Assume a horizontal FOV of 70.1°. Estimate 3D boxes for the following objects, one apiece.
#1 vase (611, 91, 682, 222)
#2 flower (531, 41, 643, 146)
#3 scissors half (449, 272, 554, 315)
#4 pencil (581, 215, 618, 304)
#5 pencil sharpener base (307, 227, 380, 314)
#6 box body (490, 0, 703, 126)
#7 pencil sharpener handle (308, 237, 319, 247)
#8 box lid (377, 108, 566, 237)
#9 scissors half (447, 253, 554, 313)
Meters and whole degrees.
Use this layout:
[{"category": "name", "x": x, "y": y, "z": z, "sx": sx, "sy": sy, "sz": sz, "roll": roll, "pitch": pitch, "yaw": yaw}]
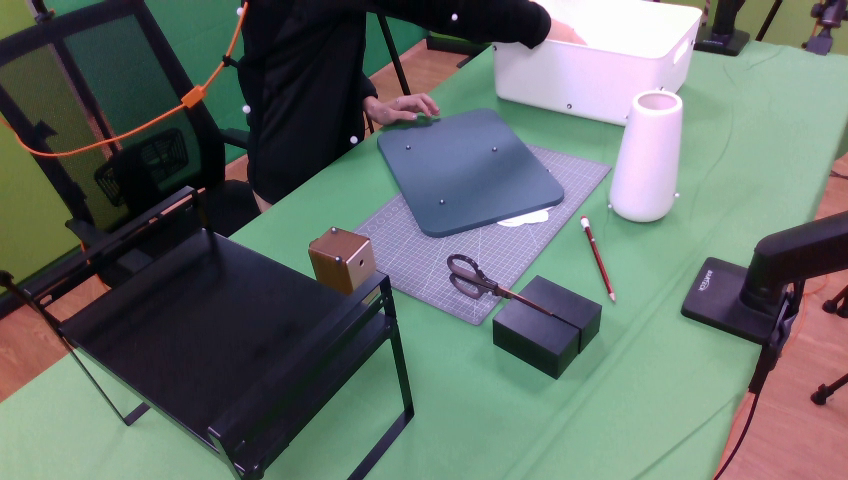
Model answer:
[{"category": "vase", "x": 0.348, "y": -0.125, "z": 0.935, "sx": 0.098, "sy": 0.201, "sz": 0.097, "roll": -3, "pitch": 40, "yaw": 3}, {"category": "flower", "x": 0.348, "y": -0.318, "z": 1.306, "sx": 0.038, "sy": 0.044, "sz": 0.359, "roll": 3, "pitch": 43, "yaw": -47}, {"category": "scissors half", "x": 0.104, "y": 0.076, "z": 0.834, "sx": 0.173, "sy": 0.040, "sz": 0.013, "roll": 15, "pitch": 47, "yaw": 42}, {"category": "pencil", "x": 0.266, "y": 0.025, "z": 0.917, "sx": 0.012, "sy": 0.012, "sz": 0.193, "roll": -6, "pitch": 41, "yaw": 1}, {"category": "pencil sharpener base", "x": -0.116, "y": 0.043, "z": 0.875, "sx": 0.076, "sy": 0.107, "sz": 0.061, "roll": 18, "pitch": 47, "yaw": 27}, {"category": "box body", "x": 0.352, "y": -0.385, "z": 1.268, "sx": 0.361, "sy": 0.161, "sz": 0.255, "roll": 21, "pitch": 48, "yaw": 29}, {"category": "pencil sharpener handle", "x": -0.158, "y": 0.017, "z": 0.892, "sx": 0.030, "sy": 0.068, "sz": 0.036, "roll": 18, "pitch": 62, "yaw": 28}, {"category": "box lid", "x": 0.074, "y": -0.140, "z": 1.137, "sx": 0.264, "sy": 0.015, "sz": 0.368, "roll": -16, "pitch": 40, "yaw": -10}, {"category": "scissors half", "x": 0.101, "y": 0.060, "z": 0.822, "sx": 0.174, "sy": 0.040, "sz": 0.013, "roll": 29, "pitch": 50, "yaw": 29}]
